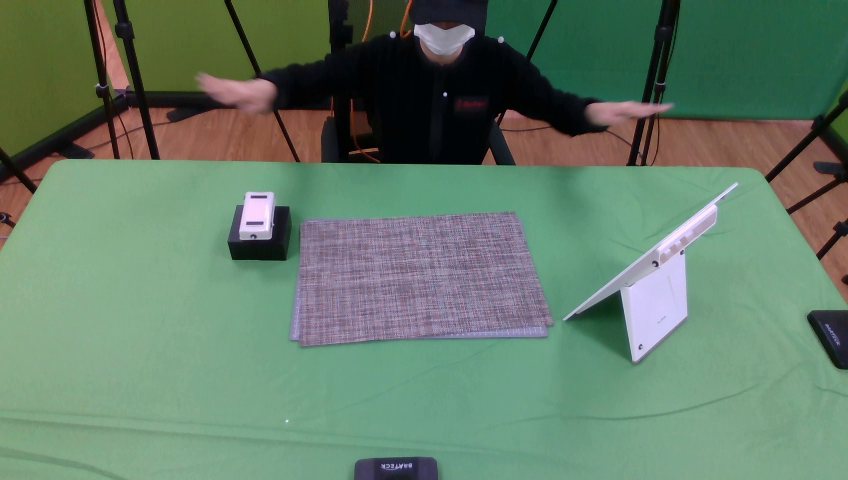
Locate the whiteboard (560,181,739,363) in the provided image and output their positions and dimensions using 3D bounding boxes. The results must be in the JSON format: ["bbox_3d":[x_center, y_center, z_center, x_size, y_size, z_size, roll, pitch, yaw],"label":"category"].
[{"bbox_3d":[0.406,0.076,1.000,0.217,0.306,0.143,-29,74,-29],"label":"whiteboard"}]

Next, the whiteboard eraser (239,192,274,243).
[{"bbox_3d":[-0.312,-0.043,1.131,0.055,0.042,0.112,-3,46,-5],"label":"whiteboard eraser"}]
